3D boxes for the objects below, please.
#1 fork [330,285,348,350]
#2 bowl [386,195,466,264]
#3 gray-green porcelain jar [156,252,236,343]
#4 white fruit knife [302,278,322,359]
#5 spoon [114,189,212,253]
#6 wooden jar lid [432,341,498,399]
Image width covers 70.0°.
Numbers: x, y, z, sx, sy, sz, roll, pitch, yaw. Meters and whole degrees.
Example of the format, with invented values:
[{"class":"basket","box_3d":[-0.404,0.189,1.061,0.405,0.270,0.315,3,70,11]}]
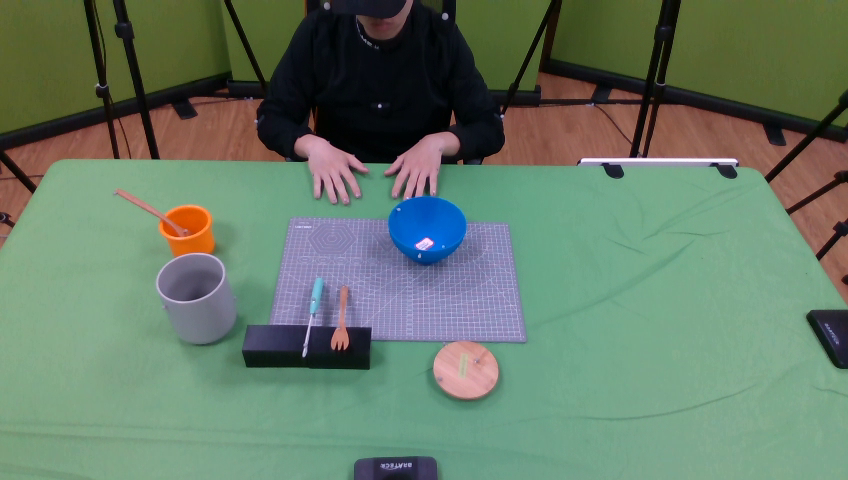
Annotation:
[{"class":"fork","box_3d":[-0.140,0.127,1.021,0.028,0.019,0.206,-5,28,-2]},{"class":"bowl","box_3d":[0.003,-0.007,1.162,0.151,0.077,0.150,2,46,-2]},{"class":"gray-green porcelain jar","box_3d":[-0.371,0.100,0.999,0.106,0.127,0.105,2,46,-2]},{"class":"white fruit knife","box_3d":[-0.189,0.126,1.020,0.016,0.027,0.206,0,33,-2]},{"class":"spoon","box_3d":[-0.475,-0.037,1.109,0.021,0.195,0.041,-29,34,32]},{"class":"wooden jar lid","box_3d":[0.067,0.216,0.997,0.108,0.021,0.107,1,46,-1]}]
